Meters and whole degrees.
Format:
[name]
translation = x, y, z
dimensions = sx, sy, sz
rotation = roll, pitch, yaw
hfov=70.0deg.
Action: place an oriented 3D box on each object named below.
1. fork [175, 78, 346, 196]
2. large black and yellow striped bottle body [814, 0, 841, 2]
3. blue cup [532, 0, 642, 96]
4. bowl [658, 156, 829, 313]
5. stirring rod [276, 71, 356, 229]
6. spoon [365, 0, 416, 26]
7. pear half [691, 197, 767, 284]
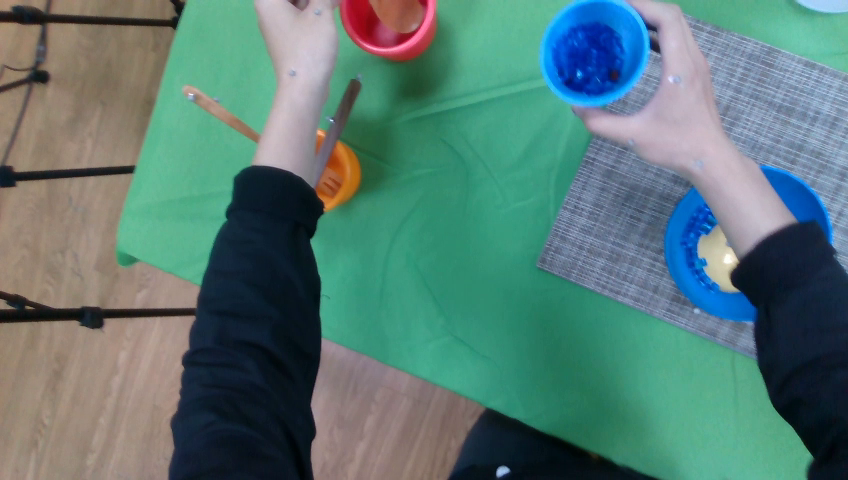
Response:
[fork]
translation = -0.163, -0.103, 0.629
dimensions = 0.028, 0.018, 0.209
rotation = -41, 134, 18
[large black and yellow striped bottle body]
translation = 0.391, -0.292, 0.511
dimensions = 0.130, 0.184, 0.131
rotation = 1, 97, 8
[blue cup]
translation = 0.143, -0.168, 0.528
dimensions = 0.092, 0.100, 0.093
rotation = 3, 103, 15
[bowl]
translation = 0.307, -0.008, 0.608
dimensions = 0.151, 0.077, 0.151
rotation = 1, 97, 8
[stirring rod]
translation = -0.112, -0.091, 0.622
dimensions = 0.014, 0.006, 0.176
rotation = 27, 101, 1
[spoon]
translation = -0.079, -0.255, 0.574
dimensions = 0.042, 0.195, 0.021
rotation = -54, 54, 20
[pear half]
translation = 0.307, 0.001, 0.603
dimensions = 0.070, 0.031, 0.088
rotation = -4, 92, 6
